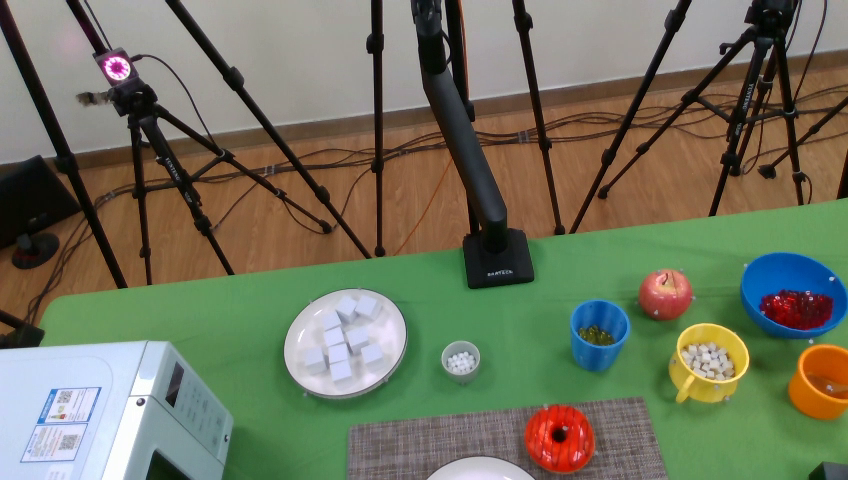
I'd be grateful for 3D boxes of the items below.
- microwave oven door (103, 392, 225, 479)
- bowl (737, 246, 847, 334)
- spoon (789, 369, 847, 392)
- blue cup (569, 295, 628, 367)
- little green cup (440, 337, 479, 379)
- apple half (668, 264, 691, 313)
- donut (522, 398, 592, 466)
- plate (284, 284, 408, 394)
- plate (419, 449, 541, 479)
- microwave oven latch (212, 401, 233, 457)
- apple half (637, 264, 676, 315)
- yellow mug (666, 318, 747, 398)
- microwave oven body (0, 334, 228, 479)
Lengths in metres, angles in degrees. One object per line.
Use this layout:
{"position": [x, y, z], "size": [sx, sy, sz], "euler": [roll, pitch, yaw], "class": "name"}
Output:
{"position": [-0.326, 0.391, 0.703], "size": [0.039, 0.246, 0.352], "euler": [-5, 50, 5], "class": "microwave oven door"}
{"position": [0.563, 0.092, 0.948], "size": [0.151, 0.077, 0.150], "euler": [-4, 51, 6], "class": "bowl"}
{"position": [0.587, 0.196, 0.813], "size": [0.041, 0.193, 0.022], "euler": [-40, 100, -23], "class": "spoon"}
{"position": [0.263, 0.147, 0.933], "size": [0.092, 0.101, 0.091], "euler": [-3, 52, 5], "class": "blue cup"}
{"position": [0.059, 0.191, 0.968], "size": [0.061, 0.039, 0.061], "euler": [-4, 50, 6], "class": "little green cup"}
{"position": [0.414, 0.080, 0.982], "size": [0.033, 0.082, 0.080], "euler": [-4, 50, 10], "class": "apple half"}
{"position": [0.191, 0.276, 0.870], "size": [0.099, 0.049, 0.098], "euler": [-4, 52, 6], "class": "donut"}
{"position": [-0.128, 0.167, 1.016], "size": [0.207, 0.039, 0.205], "euler": [-4, 50, 5], "class": "plate"}
{"position": [0.075, 0.385, 0.801], "size": [0.209, 0.038, 0.207], "euler": [-4, 51, 6], "class": "plate"}
{"position": [-0.311, 0.287, 0.920], "size": [0.030, 0.030, 0.078], "euler": [-3, 51, 6], "class": "microwave oven latch"}
{"position": [0.375, 0.083, 0.988], "size": [0.053, 0.075, 0.080], "euler": [-4, 54, 9], "class": "apple half"}
{"position": [0.411, 0.185, 0.903], "size": [0.099, 0.064, 0.130], "euler": [35, 65, 31], "class": "yellow mug"}
{"position": [-0.470, 0.373, 0.747], "size": [0.326, 0.263, 0.437], "euler": [-4, 51, 5], "class": "microwave oven body"}
